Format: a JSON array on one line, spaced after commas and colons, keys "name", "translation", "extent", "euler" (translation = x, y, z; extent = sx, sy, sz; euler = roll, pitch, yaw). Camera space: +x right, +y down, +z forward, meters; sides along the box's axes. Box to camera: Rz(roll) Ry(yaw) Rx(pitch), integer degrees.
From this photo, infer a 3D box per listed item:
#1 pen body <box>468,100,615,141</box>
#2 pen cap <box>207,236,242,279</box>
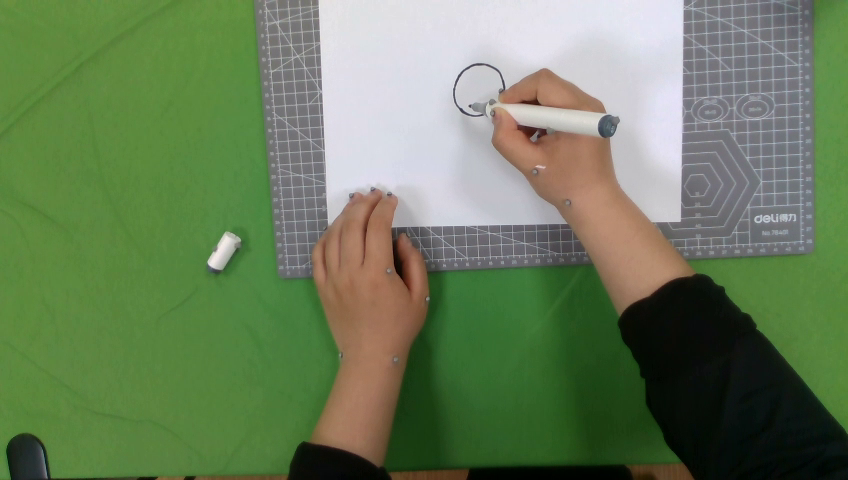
[{"name": "pen body", "translation": [0.078, -0.090, 0.444], "extent": [0.017, 0.142, 0.017], "euler": [-14, 114, -33]}, {"name": "pen cap", "translation": [-0.178, 0.016, 0.539], "extent": [0.017, 0.017, 0.038], "euler": [35, 97, 3]}]
